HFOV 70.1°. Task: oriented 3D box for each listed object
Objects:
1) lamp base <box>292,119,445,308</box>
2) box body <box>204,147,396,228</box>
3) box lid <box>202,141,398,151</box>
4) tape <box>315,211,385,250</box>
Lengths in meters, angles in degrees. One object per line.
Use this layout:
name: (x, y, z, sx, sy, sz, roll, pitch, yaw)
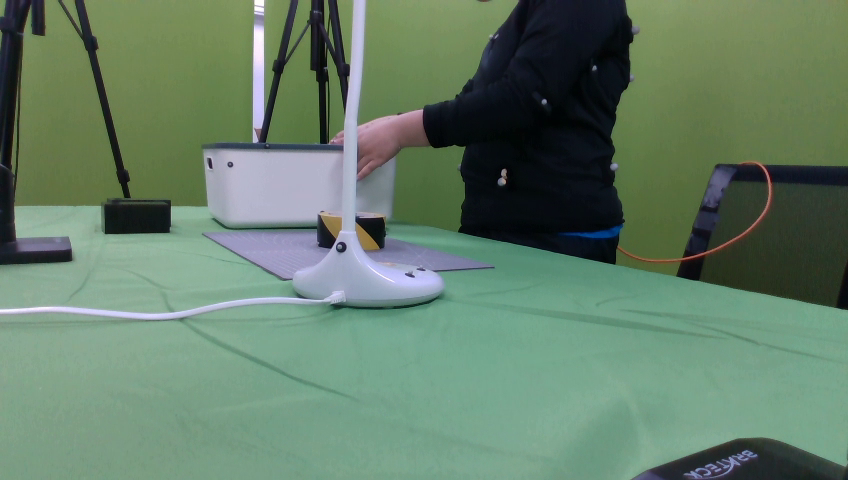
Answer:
lamp base: (-0.056, -0.030, 0.616, 0.160, 0.180, 0.179, 4, 10, 8)
box body: (-0.267, -0.121, 1.293, 0.366, 0.160, 0.253, -3, 9, -27)
box lid: (-0.268, -0.196, 1.282, 0.373, 0.015, 0.262, -3, 9, -27)
tape: (-0.119, -0.017, 0.973, 0.117, 0.052, 0.117, 2, 7, 0)
